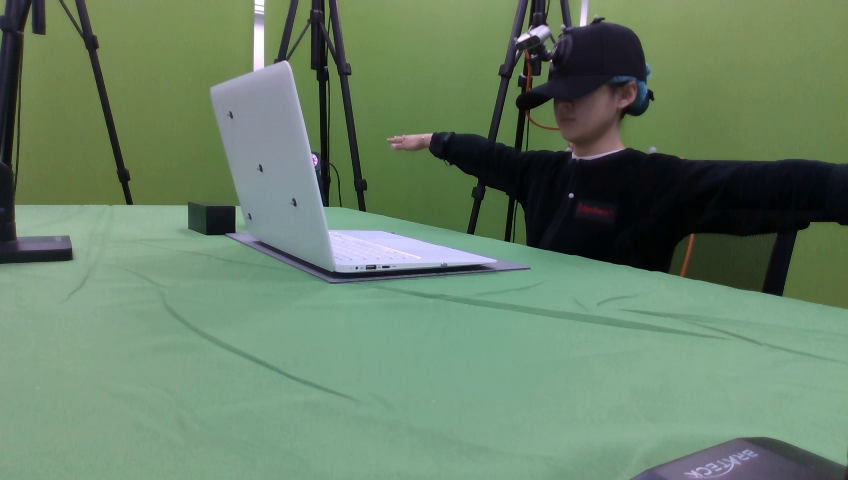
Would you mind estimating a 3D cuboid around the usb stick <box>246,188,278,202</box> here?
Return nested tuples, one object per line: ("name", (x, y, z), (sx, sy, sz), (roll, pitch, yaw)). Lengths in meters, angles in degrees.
("usb stick", (-0.314, -0.086, 1.166), (0.059, 0.027, 0.021), (-4, 12, -32))

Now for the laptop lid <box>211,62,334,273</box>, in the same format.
("laptop lid", (-0.211, -0.095, 0.791), (0.013, 0.241, 0.355), (-18, 18, -29))

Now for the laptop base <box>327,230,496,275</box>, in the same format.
("laptop base", (-0.091, 0.016, 0.884), (0.237, 0.023, 0.352), (2, 6, -32))
